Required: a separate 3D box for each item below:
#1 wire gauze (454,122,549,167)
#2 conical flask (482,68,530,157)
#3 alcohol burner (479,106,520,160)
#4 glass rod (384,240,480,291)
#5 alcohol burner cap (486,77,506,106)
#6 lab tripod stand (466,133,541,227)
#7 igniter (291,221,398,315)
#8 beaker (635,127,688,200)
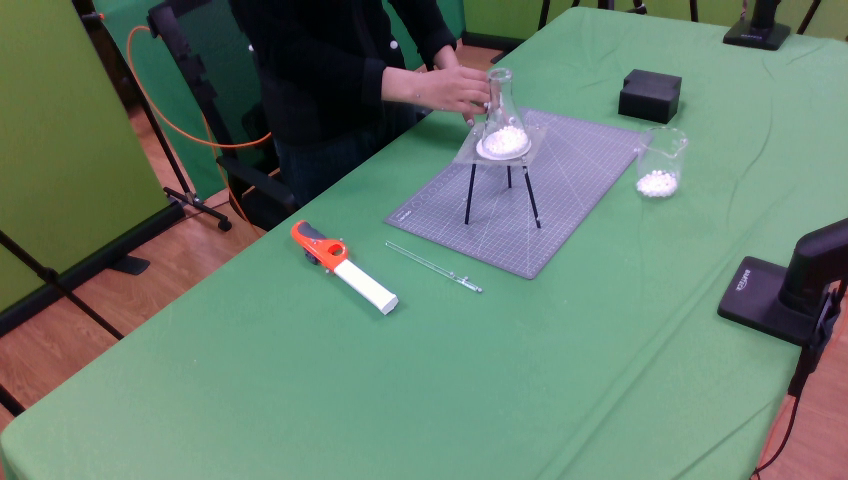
[{"bbox_3d":[0.122,-0.149,0.943,0.121,0.011,0.125,7,44,22],"label":"wire gauze"},{"bbox_3d":[0.118,-0.192,0.902,0.075,0.122,0.075,-7,39,6],"label":"conical flask"},{"bbox_3d":[0.139,-0.207,1.126,0.078,0.120,0.077,-7,40,6],"label":"alcohol burner"},{"bbox_3d":[0.009,0.037,0.949,0.198,0.008,0.008,26,52,34],"label":"glass rod"},{"bbox_3d":[0.124,-0.263,1.065,0.034,0.048,0.033,-9,46,10],"label":"alcohol burner cap"},{"bbox_3d":[0.130,-0.099,0.985,0.148,0.132,0.147,-6,38,6],"label":"lab tripod stand"},{"bbox_3d":[-0.136,0.037,0.962,0.057,0.025,0.274,-41,48,-18],"label":"igniter"},{"bbox_3d":[0.388,-0.122,0.994,0.074,0.101,0.083,-8,40,2],"label":"beaker"}]
